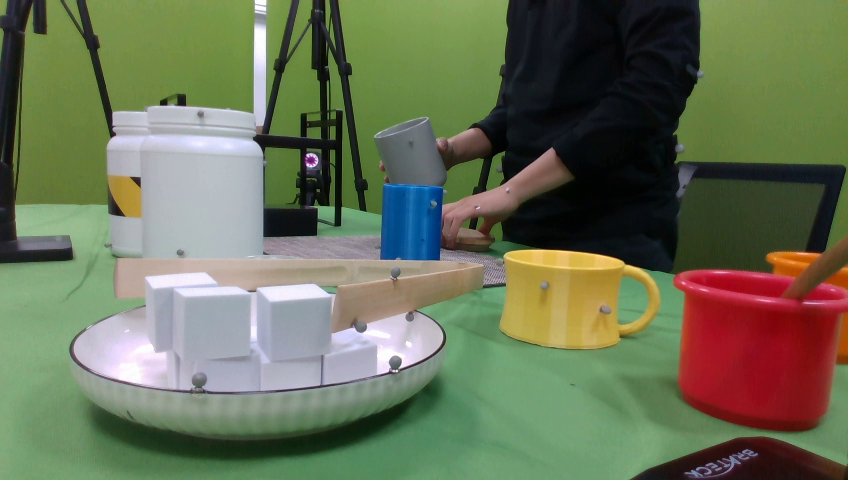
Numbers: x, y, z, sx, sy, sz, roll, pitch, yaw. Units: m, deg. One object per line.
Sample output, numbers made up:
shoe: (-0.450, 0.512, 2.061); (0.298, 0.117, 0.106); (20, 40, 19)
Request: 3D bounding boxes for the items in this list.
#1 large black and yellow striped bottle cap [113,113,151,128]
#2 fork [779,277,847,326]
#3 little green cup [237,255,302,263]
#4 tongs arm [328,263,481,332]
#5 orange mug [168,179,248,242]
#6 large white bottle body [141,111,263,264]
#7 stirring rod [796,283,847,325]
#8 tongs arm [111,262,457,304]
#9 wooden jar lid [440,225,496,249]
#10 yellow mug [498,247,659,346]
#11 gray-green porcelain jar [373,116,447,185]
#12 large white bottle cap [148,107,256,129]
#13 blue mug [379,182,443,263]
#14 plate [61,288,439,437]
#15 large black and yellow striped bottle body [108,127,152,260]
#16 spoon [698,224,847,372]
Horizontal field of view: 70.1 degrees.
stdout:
large black and yellow striped bottle cap: (-0.348, -0.154, 0.800); (0.115, 0.019, 0.115); (2, 6, 0)
fork: (0.335, 0.018, 0.443); (0.028, 0.018, 0.207); (-1, -36, -20)
little green cup: (-0.150, 0.038, 0.590); (0.061, 0.038, 0.061); (3, 7, 0)
tongs arm: (-0.003, 0.037, 0.493); (0.050, 0.026, 0.386); (1, -1, 19)
orange mug: (-0.351, -0.050, 0.986); (0.126, 0.101, 0.083); (-3, 8, -9)
large white bottle body: (-0.254, -0.054, 0.697); (0.131, 0.184, 0.130); (2, 7, 0)
stirring rod: (0.346, 0.019, 0.460); (0.014, 0.176, 0.006); (-17, 59, -26)
tongs arm: (-0.080, 0.032, 0.527); (0.028, 0.027, 0.389); (-3, -3, 33)
wooden jar lid: (0.065, -0.005, 1.009); (0.108, 0.020, 0.108); (7, 13, -1)
yellow mug: (0.130, 0.045, 0.508); (0.131, 0.064, 0.100); (4, 7, 6)
gray-green porcelain jar: (-0.022, -0.147, 1.090); (0.106, 0.126, 0.105); (-18, 18, 6)
large white bottle cap: (-0.250, -0.137, 0.686); (0.115, 0.018, 0.115); (2, 8, 0)
blue mug: (-0.020, -0.026, 0.833); (0.082, 0.106, 0.116); (1, 7, -7)
plate: (-0.095, 0.069, 0.362); (0.208, 0.039, 0.207); (3, 7, 0)
large black and yellow striped bottle body: (-0.350, -0.071, 0.812); (0.131, 0.184, 0.130); (2, 7, 0)
spoon: (0.195, 0.032, 0.323); (0.041, 0.021, 0.194); (1, -36, 2)
